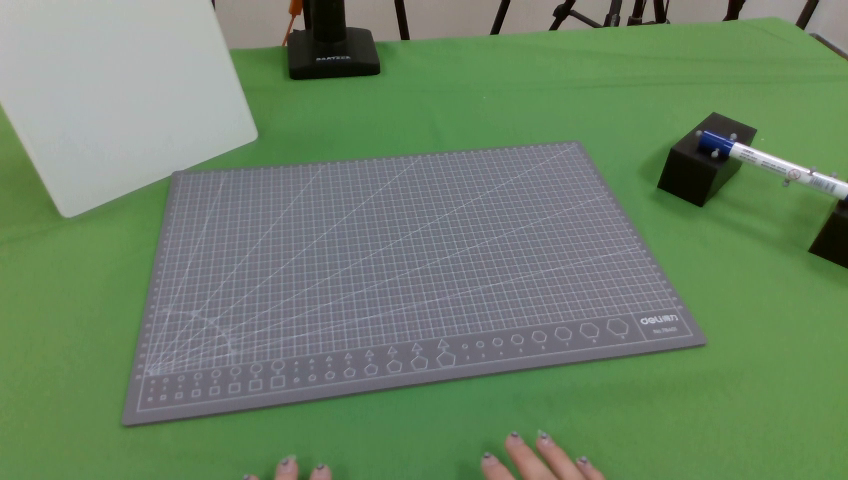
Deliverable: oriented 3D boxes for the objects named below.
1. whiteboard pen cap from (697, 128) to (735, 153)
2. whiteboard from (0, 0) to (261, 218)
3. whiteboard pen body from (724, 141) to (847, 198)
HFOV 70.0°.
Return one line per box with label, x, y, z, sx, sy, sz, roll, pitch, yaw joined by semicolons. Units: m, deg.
whiteboard pen cap;0.293;-0.100;0.605;0.033;0.018;0.018;30;50;27
whiteboard;-0.338;-0.216;0.611;0.217;0.308;0.142;-32;34;-30
whiteboard pen body;0.338;-0.073;0.581;0.139;0.017;0.017;29;50;27
